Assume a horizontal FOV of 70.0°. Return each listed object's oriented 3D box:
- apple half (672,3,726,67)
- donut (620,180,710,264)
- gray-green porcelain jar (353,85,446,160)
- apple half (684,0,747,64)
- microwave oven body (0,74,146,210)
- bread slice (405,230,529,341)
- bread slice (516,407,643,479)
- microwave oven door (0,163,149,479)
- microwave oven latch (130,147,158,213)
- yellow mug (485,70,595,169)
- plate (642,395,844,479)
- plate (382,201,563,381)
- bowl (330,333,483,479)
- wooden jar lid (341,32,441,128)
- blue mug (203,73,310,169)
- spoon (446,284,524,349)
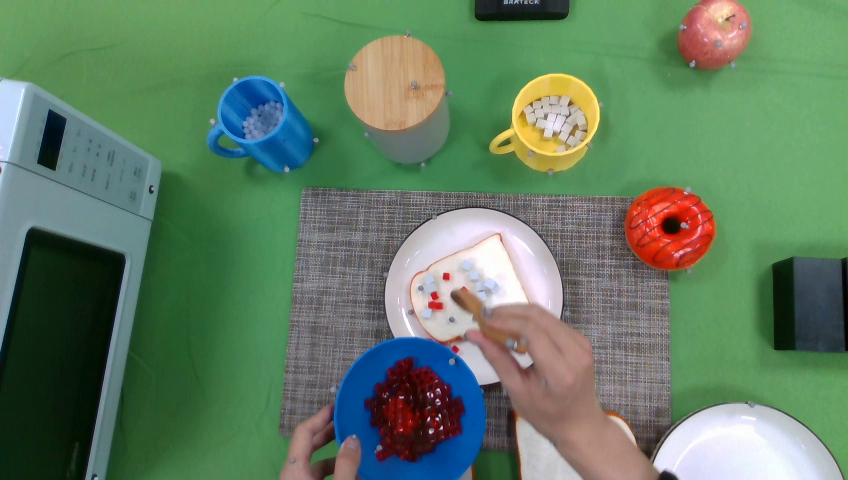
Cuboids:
[{"bbox_3d":[0.315,-0.233,0.717,0.033,0.081,0.081,-30,78,-5],"label":"apple half"},{"bbox_3d":[0.275,-0.020,0.697,0.099,0.048,0.098,-1,81,5],"label":"donut"},{"bbox_3d":[-0.028,-0.157,0.711,0.106,0.127,0.105,-1,80,6],"label":"gray-green porcelain jar"},{"bbox_3d":[0.348,-0.254,0.719,0.053,0.075,0.080,-29,75,-6],"label":"apple half"},{"bbox_3d":[-0.530,0.068,0.648,0.326,0.261,0.440,5,81,6],"label":"microwave oven body"},{"bbox_3d":[0.046,0.060,0.712,0.131,0.019,0.104,-24,79,-2],"label":"bread slice"},{"bbox_3d":[0.169,0.235,0.644,0.135,0.018,0.106,-2,76,-15],"label":"bread slice"},{"bbox_3d":[-0.391,0.123,0.620,0.039,0.245,0.354,5,81,7],"label":"microwave oven door"},{"bbox_3d":[-0.355,-0.075,0.754,0.030,0.029,0.079,7,82,6],"label":"microwave oven latch"},{"bbox_3d":[0.134,-0.137,0.723,0.131,0.064,0.099,-22,79,2],"label":"yellow mug"},{"bbox_3d":[0.335,0.271,0.649,0.209,0.038,0.208,-1,80,6],"label":"plate"},{"bbox_3d":[0.056,0.059,0.708,0.207,0.039,0.207,-1,80,5],"label":"plate"},{"bbox_3d":[-0.023,0.176,0.619,0.152,0.077,0.150,4,70,-12],"label":"bowl"},{"bbox_3d":[-0.035,-0.169,0.650,0.108,0.021,0.108,-1,78,6],"label":"wooden jar lid"},{"bbox_3d":[-0.207,-0.135,0.734,0.116,0.106,0.082,-23,78,2],"label":"blue mug"},{"bbox_3d":[0.050,0.064,0.504,0.042,0.193,0.021,41,91,-11],"label":"spoon"}]
